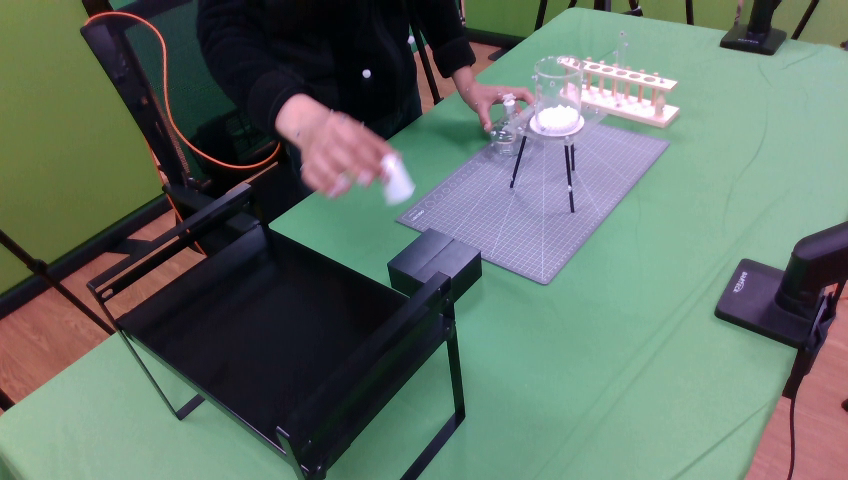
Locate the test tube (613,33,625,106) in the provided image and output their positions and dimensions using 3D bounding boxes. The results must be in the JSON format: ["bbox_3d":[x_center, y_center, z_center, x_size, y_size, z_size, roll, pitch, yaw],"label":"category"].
[{"bbox_3d":[0.380,-0.330,1.181,0.017,0.151,0.017,-7,42,6],"label":"test tube"}]

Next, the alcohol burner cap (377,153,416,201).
[{"bbox_3d":[-0.031,-0.069,0.636,0.034,0.048,0.033,-19,24,9],"label":"alcohol burner cap"}]

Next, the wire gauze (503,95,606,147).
[{"bbox_3d":[0.211,-0.191,0.976,0.120,0.011,0.125,24,52,32],"label":"wire gauze"}]

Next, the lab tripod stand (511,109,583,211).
[{"bbox_3d":[0.220,-0.138,1.014,0.148,0.132,0.147,-3,41,3],"label":"lab tripod stand"}]

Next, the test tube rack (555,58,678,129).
[{"bbox_3d":[0.389,-0.307,1.229,0.240,0.085,0.067,25,51,33],"label":"test tube rack"}]

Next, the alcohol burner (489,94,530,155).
[{"bbox_3d":[0.160,-0.220,1.136,0.078,0.119,0.077,-6,41,5],"label":"alcohol burner"}]

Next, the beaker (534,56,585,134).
[{"bbox_3d":[0.209,-0.226,0.942,0.074,0.101,0.083,-2,41,8],"label":"beaker"}]
